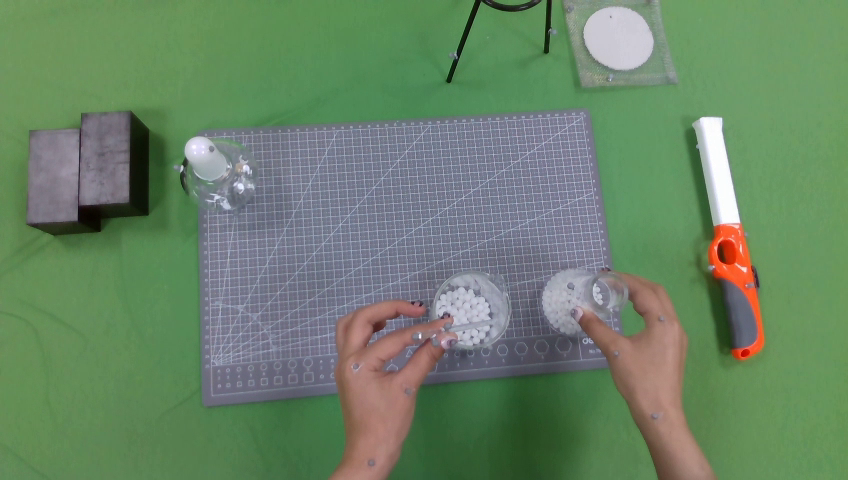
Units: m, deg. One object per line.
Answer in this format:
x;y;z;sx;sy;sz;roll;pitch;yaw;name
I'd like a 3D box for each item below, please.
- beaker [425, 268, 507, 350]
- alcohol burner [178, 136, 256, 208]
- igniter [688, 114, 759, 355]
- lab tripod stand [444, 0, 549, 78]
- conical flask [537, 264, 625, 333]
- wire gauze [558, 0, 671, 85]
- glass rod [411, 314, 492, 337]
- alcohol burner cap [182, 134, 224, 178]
0.040;0.070;0.611;0.074;0.100;0.084;42;78;5;beaker
-0.214;-0.074;0.612;0.078;0.119;0.077;0;79;-2;alcohol burner
0.339;-0.010;0.687;0.057;0.025;0.275;-2;79;-16;igniter
0.077;-0.255;0.662;0.148;0.132;0.148;1;81;-4;lab tripod stand
0.160;0.054;0.603;0.075;0.122;0.075;0;80;-2;conical flask
0.233;-0.246;0.735;0.125;0.011;0.121;-6;80;-7;wire gauze
0.031;0.075;0.535;0.008;0.201;0.008;-1;86;22;glass rod
-0.212;-0.083;0.577;0.034;0.048;0.033;2;71;-4;alcohol burner cap
